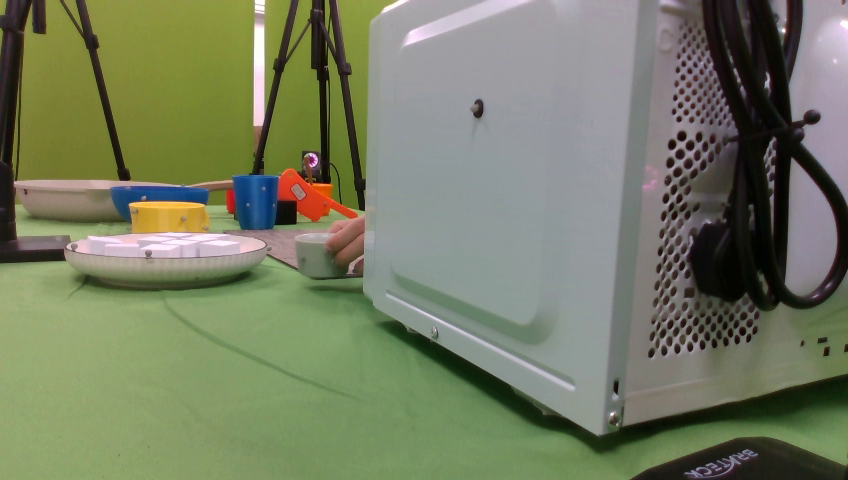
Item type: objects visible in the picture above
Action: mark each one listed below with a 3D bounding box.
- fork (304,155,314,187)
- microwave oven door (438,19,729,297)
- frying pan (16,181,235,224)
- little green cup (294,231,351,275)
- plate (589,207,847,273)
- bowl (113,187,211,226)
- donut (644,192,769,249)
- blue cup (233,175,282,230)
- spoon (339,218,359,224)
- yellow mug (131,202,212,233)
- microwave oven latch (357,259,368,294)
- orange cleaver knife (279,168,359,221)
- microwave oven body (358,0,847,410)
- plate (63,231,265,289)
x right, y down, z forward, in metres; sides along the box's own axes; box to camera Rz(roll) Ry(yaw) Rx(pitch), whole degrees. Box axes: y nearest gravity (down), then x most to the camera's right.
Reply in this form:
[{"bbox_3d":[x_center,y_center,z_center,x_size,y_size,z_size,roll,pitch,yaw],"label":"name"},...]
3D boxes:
[{"bbox_3d":[-0.268,-0.134,1.446,0.028,0.018,0.207,2,-36,-1],"label":"fork"},{"bbox_3d":[0.181,-0.076,0.618,0.358,0.243,0.039,-2,8,-28],"label":"microwave oven door"},{"bbox_3d":[-0.553,-0.097,1.266,0.490,0.102,0.305,-10,13,-24],"label":"frying pan"},{"bbox_3d":[-0.108,0.013,0.646,0.061,0.038,0.061,2,9,0],"label":"little green cup"},{"bbox_3d":[0.246,-0.002,0.510,0.209,0.038,0.209,3,6,0],"label":"plate"},{"bbox_3d":[-0.436,-0.046,1.013,0.151,0.077,0.151,2,7,0],"label":"bowl"},{"bbox_3d":[0.239,-0.017,0.518,0.099,0.048,0.099,2,4,0],"label":"donut"},{"bbox_3d":[-0.314,-0.071,1.141,0.093,0.100,0.092,0,7,0],"label":"blue cup"},{"bbox_3d":[-0.087,-0.041,1.268,0.193,0.021,0.041,3,20,13],"label":"spoon"},{"bbox_3d":[-0.356,-0.020,0.878,0.099,0.064,0.131,5,7,22],"label":"yellow mug"},{"bbox_3d":[-0.019,0.031,0.530,0.079,0.029,0.030,-1,7,-27],"label":"microwave oven latch"},{"bbox_3d":[-0.236,-0.084,1.333,0.212,0.077,0.012,31,-9,-31],"label":"orange cleaver knife"},{"bbox_3d":[0.210,-0.051,0.471,0.444,0.260,0.324,-1,7,-28],"label":"microwave oven body"},{"bbox_3d":[-0.288,0.021,0.687,0.208,0.039,0.207,2,8,0],"label":"plate"}]
